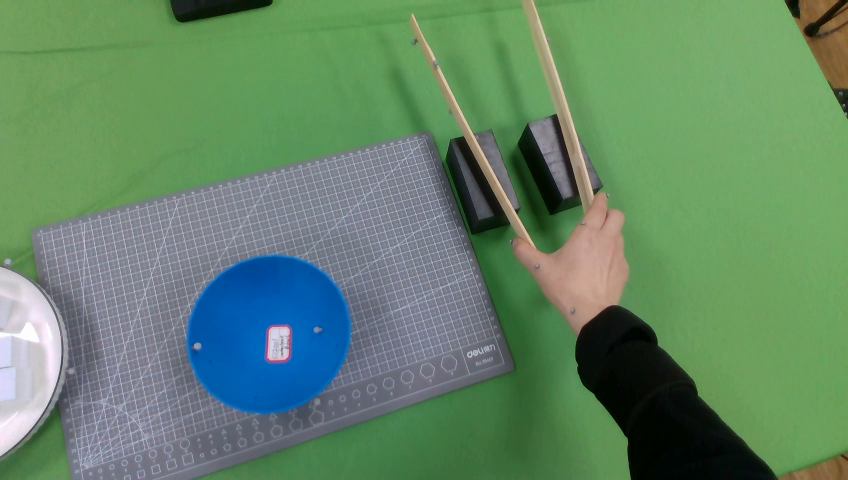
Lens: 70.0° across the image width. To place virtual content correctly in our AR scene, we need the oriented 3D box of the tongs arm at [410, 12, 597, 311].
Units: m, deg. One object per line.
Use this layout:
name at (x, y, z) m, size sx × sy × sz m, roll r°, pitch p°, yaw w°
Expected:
tongs arm at (0.079, -0.095, 0.660) m, size 0.051 × 0.026 × 0.382 m, roll -20°, pitch 75°, yaw -12°

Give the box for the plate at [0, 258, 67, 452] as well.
plate at (-0.451, 0.117, 0.587) m, size 0.208 × 0.039 × 0.206 m, roll 1°, pitch 74°, yaw -4°

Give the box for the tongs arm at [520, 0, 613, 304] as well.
tongs arm at (0.152, -0.116, 0.672) m, size 0.028 × 0.028 × 0.385 m, roll -7°, pitch 74°, yaw -12°

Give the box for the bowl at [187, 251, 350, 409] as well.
bowl at (-0.147, 0.093, 0.602) m, size 0.151 × 0.077 × 0.150 m, roll 2°, pitch 73°, yaw -5°
